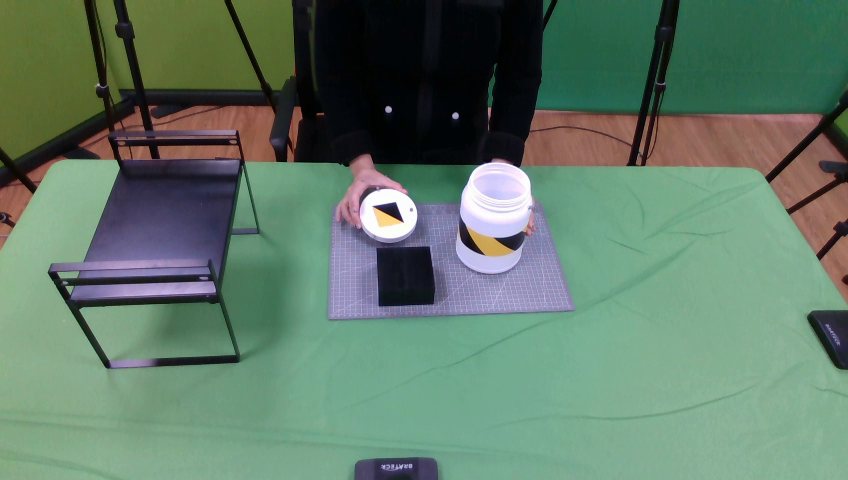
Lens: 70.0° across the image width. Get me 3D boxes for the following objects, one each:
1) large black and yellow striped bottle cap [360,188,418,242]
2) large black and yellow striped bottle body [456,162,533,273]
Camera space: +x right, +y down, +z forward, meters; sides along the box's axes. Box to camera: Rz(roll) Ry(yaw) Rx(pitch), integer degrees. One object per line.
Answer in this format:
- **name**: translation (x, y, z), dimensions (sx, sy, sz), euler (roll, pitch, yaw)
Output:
- **large black and yellow striped bottle cap**: translation (-0.069, -0.050, 1.190), dimensions (0.115, 0.019, 0.114), euler (3, 62, -6)
- **large black and yellow striped bottle body**: translation (0.131, -0.042, 1.128), dimensions (0.131, 0.185, 0.130), euler (2, 46, -2)
